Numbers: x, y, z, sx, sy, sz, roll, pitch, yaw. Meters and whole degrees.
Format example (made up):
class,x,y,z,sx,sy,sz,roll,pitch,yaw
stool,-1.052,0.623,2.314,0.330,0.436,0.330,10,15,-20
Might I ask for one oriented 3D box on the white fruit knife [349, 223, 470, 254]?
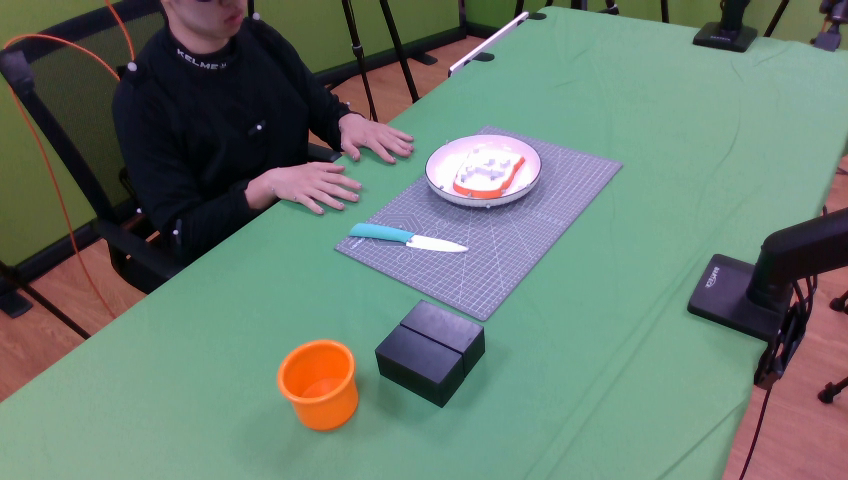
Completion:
class,x,y,z,sx,sy,sz,roll,pitch,yaw
white fruit knife,-0.025,-0.001,0.977,0.206,0.016,0.027,11,73,17

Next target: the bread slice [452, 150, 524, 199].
class,x,y,z,sx,sy,sz,roll,pitch,yaw
bread slice,0.111,-0.119,1.078,0.104,0.019,0.131,12,43,21

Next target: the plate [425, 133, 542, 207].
class,x,y,z,sx,sy,sz,roll,pitch,yaw
plate,0.106,-0.121,1.079,0.209,0.038,0.208,-4,41,4
